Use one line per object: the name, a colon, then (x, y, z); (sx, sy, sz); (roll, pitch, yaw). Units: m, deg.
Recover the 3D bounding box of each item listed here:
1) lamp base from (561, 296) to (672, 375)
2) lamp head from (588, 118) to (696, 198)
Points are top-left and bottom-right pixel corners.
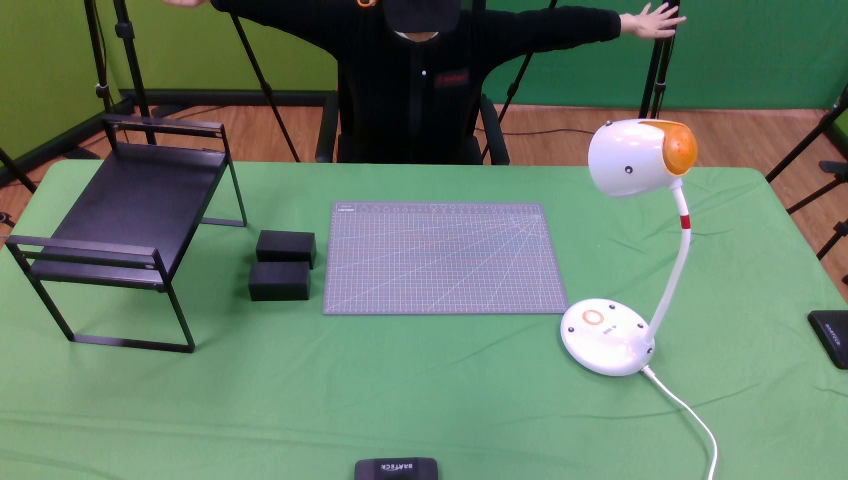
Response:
lamp base: (0.332, 0.119, 0.996); (0.160, 0.181, 0.178); (-34, 59, -31)
lamp head: (0.304, -0.113, 0.823); (0.112, 0.112, 0.122); (-26, 16, -25)
